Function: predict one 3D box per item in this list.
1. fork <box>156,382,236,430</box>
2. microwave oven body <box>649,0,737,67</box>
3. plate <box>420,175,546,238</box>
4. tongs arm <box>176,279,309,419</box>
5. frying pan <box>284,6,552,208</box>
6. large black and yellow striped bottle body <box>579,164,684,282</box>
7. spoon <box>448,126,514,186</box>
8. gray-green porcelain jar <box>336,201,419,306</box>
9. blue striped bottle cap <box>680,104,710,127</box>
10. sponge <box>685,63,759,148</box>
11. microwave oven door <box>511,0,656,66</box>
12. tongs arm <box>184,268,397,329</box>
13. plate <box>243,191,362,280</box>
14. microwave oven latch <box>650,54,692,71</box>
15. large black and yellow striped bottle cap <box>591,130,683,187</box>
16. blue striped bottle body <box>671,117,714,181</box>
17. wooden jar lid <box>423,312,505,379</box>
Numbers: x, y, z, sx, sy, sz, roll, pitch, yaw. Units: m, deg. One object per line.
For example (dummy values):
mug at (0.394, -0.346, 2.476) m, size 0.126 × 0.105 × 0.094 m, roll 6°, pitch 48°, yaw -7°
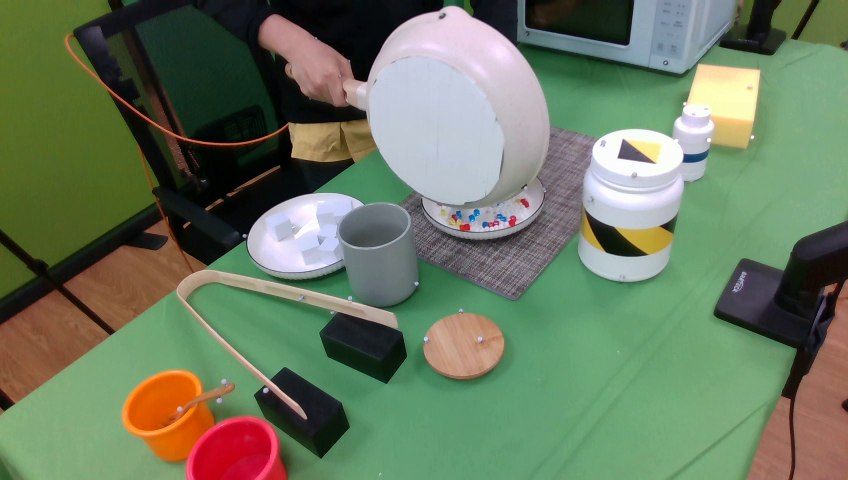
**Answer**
fork at (-0.262, 0.189, 0.690) m, size 0.018 × 0.206 × 0.028 m, roll 49°, pitch 43°, yaw -7°
microwave oven body at (0.475, -0.602, 1.411) m, size 0.438 × 0.261 × 0.327 m, roll 23°, pitch 50°, yaw 32°
plate at (0.100, -0.067, 1.017) m, size 0.209 × 0.038 × 0.208 m, roll -4°, pitch 40°, yaw 4°
tongs arm at (-0.254, 0.132, 0.801) m, size 0.028 × 0.028 × 0.384 m, roll -41°, pitch 40°, yaw -23°
frying pan at (-0.046, -0.203, 0.908) m, size 0.484 × 0.308 × 0.103 m, roll 26°, pitch 46°, yaw 33°
large black and yellow striped bottle body at (0.291, -0.046, 0.858) m, size 0.131 × 0.185 × 0.130 m, roll -4°, pitch 41°, yaw 4°
spoon at (0.101, -0.144, 1.018) m, size 0.041 × 0.022 × 0.194 m, roll 3°, pitch 33°, yaw 42°
gray-green porcelain jar at (-0.064, 0.024, 0.872) m, size 0.106 × 0.127 × 0.105 m, roll -4°, pitch 41°, yaw 4°
blue striped bottle cap at (0.443, -0.205, 0.989) m, size 0.044 × 0.021 × 0.044 m, roll -1°, pitch 41°, yaw 2°
sponge at (0.569, -0.263, 1.164) m, size 0.117 × 0.061 × 0.207 m, roll 12°, pitch 45°, yaw 22°
microwave oven door at (0.351, -0.540, 1.349) m, size 0.353 × 0.245 × 0.039 m, roll 24°, pitch 50°, yaw 31°
tongs arm at (-0.202, 0.084, 0.848) m, size 0.382 × 0.027 × 0.051 m, roll 11°, pitch 45°, yaw 35°
plate at (-0.187, -0.005, 0.992) m, size 0.207 × 0.039 × 0.206 m, roll -4°, pitch 41°, yaw 4°
microwave oven latch at (0.531, -0.386, 1.301) m, size 0.078 × 0.029 × 0.030 m, roll 24°, pitch 50°, yaw 32°
large black and yellow striped bottle cap at (0.282, -0.111, 0.803) m, size 0.115 × 0.019 × 0.114 m, roll -3°, pitch 41°, yaw 3°
blue striped bottle body at (0.449, -0.165, 1.022) m, size 0.063 × 0.121 × 0.063 m, roll -5°, pitch 41°, yaw 4°
wooden jar lid at (0.053, 0.142, 0.800) m, size 0.108 × 0.021 × 0.108 m, roll -5°, pitch 39°, yaw 4°
